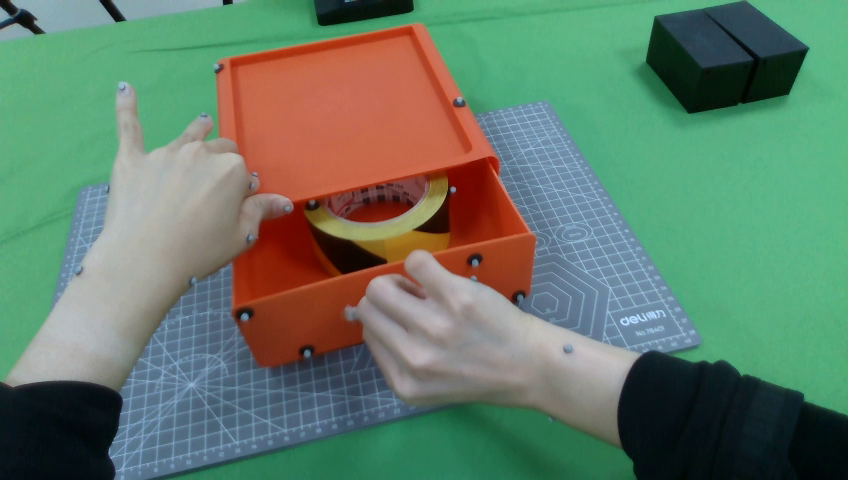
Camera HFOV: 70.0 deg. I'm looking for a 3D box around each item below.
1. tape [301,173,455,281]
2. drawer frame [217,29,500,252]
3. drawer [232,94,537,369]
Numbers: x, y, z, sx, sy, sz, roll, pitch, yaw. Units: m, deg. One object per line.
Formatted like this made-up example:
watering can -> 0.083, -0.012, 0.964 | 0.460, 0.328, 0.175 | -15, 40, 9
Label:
tape -> -0.035, -0.019, 0.467 | 0.117, 0.053, 0.115 | -3, 46, 3
drawer frame -> -0.065, -0.080, 0.515 | 0.202, 0.083, 0.211 | -14, 47, -8
drawer -> -0.044, -0.025, 0.463 | 0.195, 0.074, 0.209 | -14, 47, -7
